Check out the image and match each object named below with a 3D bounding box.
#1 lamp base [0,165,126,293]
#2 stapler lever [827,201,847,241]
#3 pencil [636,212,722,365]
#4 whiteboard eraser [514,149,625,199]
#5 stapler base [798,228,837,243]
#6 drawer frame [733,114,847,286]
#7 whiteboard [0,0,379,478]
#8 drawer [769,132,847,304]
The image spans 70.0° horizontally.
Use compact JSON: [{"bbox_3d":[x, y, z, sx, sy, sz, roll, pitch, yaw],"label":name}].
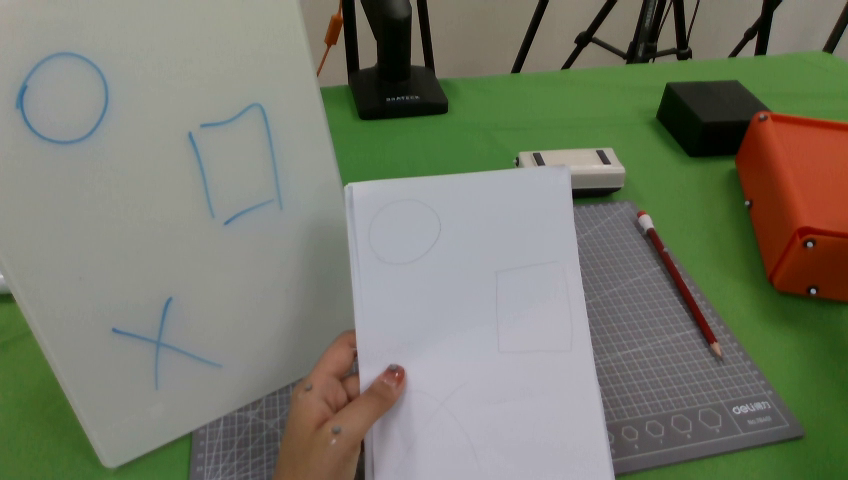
[{"bbox_3d":[-0.383,-0.070,0.536,0.178,0.182,0.160,20,44,22],"label":"lamp base"},{"bbox_3d":[0.436,0.003,0.564,0.117,0.040,0.027,29,63,17],"label":"stapler lever"},{"bbox_3d":[0.239,0.039,0.575,0.012,0.012,0.192,-3,44,-6],"label":"pencil"},{"bbox_3d":[0.162,-0.073,0.678,0.113,0.042,0.055,-2,42,-6],"label":"whiteboard eraser"},{"bbox_3d":[0.434,0.018,0.586,0.130,0.024,0.041,29,62,18],"label":"stapler base"},{"bbox_3d":[0.444,-0.033,0.617,0.201,0.083,0.212,8,41,7],"label":"drawer frame"},{"bbox_3d":[-0.185,-0.029,0.451,0.217,0.308,0.142,-22,28,-25],"label":"whiteboard"},{"bbox_3d":[0.443,-0.025,0.609,0.194,0.074,0.210,9,41,8],"label":"drawer"}]
